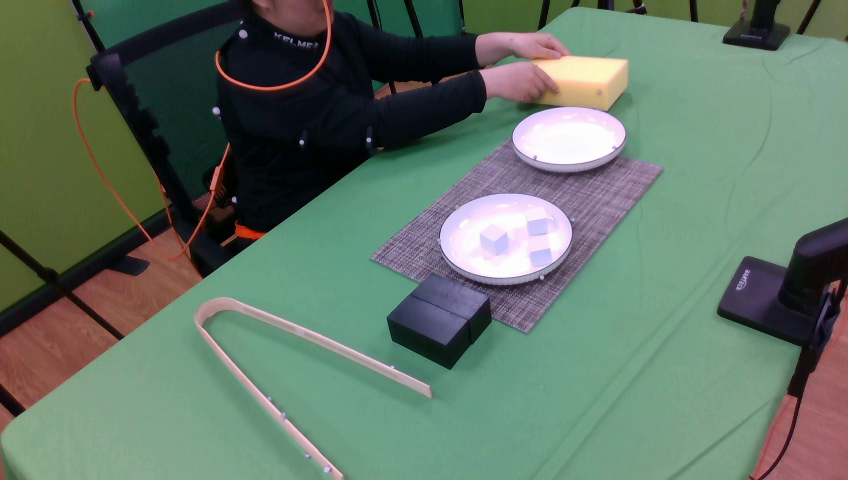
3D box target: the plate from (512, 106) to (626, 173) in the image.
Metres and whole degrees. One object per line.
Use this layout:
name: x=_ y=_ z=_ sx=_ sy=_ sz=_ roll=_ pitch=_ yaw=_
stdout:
plate: x=0.269 y=-0.185 z=1.132 sx=0.209 sy=0.038 sz=0.208 roll=-5 pitch=40 yaw=5

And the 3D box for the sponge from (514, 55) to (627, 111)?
sponge: x=0.309 y=-0.336 z=1.281 sx=0.205 sy=0.061 sz=0.118 roll=16 pitch=45 yaw=33

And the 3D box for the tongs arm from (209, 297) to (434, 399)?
tongs arm: x=-0.153 y=0.143 z=0.837 sx=0.385 sy=0.028 sz=0.028 roll=16 pitch=49 yaw=28

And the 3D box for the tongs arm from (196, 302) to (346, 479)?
tongs arm: x=-0.206 y=0.185 z=0.791 sx=0.381 sy=0.026 sz=0.051 roll=28 pitch=51 yaw=37

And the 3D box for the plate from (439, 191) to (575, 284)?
plate: x=0.129 y=-0.002 z=0.942 sx=0.207 sy=0.039 sz=0.206 roll=-5 pitch=40 yaw=5
